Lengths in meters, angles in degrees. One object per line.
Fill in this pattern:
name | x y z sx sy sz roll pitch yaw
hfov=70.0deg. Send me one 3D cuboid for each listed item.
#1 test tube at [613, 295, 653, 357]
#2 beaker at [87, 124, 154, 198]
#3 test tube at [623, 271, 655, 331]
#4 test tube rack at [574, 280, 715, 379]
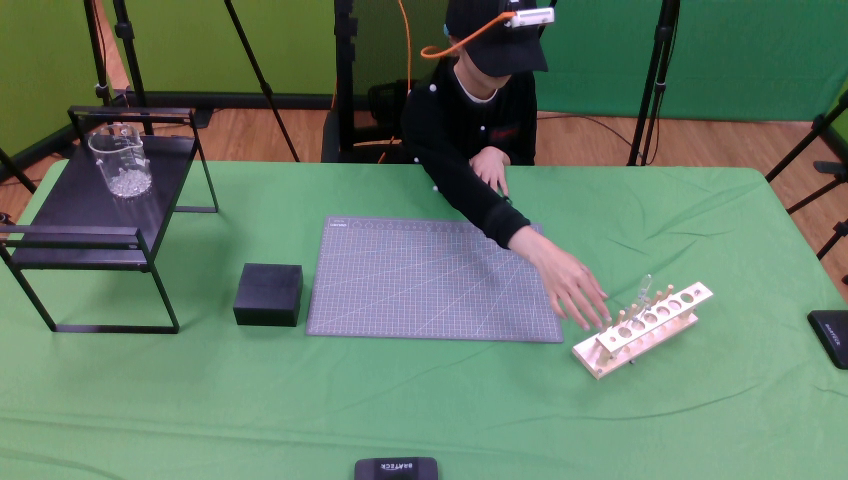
test tube | 0.330 0.141 0.966 0.017 0.151 0.017 5 44 -5
beaker | -0.482 -0.124 0.978 0.084 0.101 0.073 9 46 4
test tube | 0.356 0.104 1.010 0.017 0.151 0.017 1 46 -1
test tube rack | 0.378 0.140 1.038 0.242 0.085 0.066 -22 51 -23
